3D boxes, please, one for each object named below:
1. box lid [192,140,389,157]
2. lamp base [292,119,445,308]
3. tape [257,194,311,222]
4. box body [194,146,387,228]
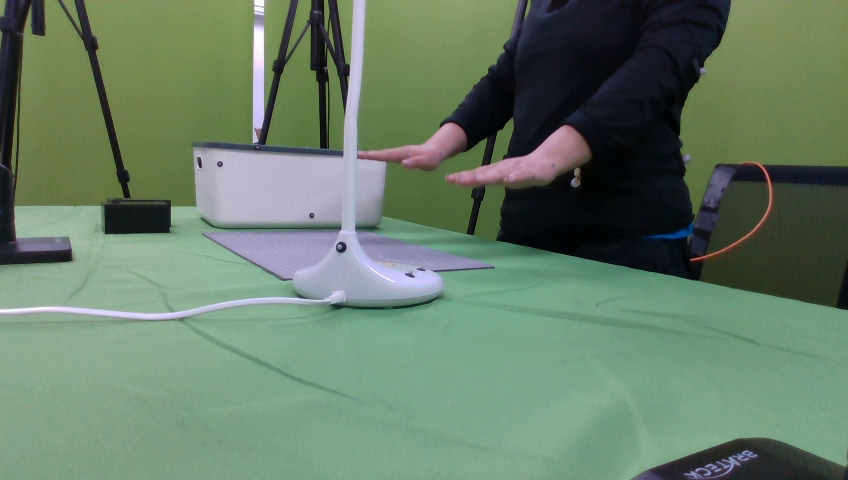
[{"bbox_3d":[-0.287,-0.191,1.281,0.373,0.015,0.262,0,8,-28],"label":"box lid"},{"bbox_3d":[-0.056,-0.030,0.616,0.160,0.180,0.179,4,10,8],"label":"lamp base"},{"bbox_3d":[-0.301,-0.070,1.297,0.117,0.052,0.117,3,7,0],"label":"tape"},{"bbox_3d":[-0.288,-0.118,1.291,0.366,0.160,0.253,-1,8,-28],"label":"box body"}]
